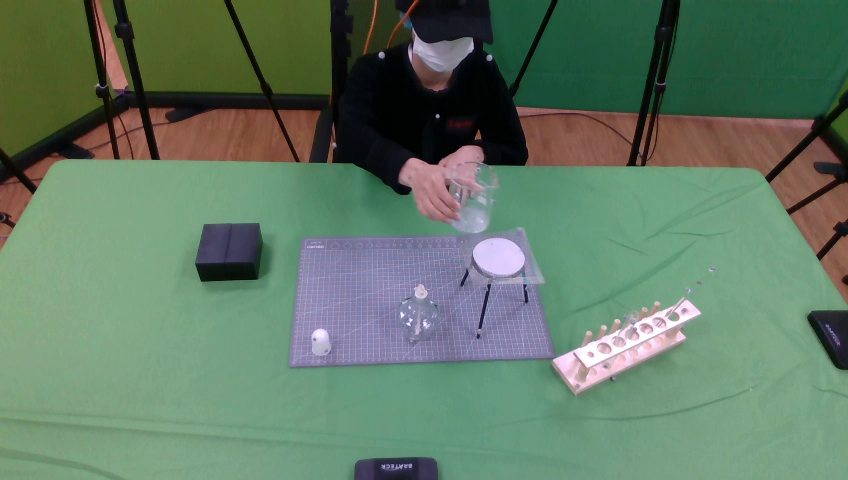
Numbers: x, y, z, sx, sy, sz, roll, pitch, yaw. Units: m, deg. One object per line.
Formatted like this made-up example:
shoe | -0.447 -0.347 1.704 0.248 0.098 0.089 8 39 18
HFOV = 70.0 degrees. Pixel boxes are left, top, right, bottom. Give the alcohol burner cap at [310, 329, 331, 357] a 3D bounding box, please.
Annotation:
alcohol burner cap | -0.173 0.168 1.005 0.034 0.048 0.033 2 46 -2

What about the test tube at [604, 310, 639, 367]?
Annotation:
test tube | 0.310 0.158 0.957 0.017 0.151 0.017 1 49 -1

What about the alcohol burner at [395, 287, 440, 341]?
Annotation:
alcohol burner | -0.010 0.116 1.018 0.078 0.119 0.077 3 47 -3

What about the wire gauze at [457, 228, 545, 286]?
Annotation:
wire gauze | 0.126 0.028 1.006 0.125 0.011 0.120 -4 46 -9

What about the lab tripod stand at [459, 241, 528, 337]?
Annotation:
lab tripod stand | 0.122 0.075 1.054 0.148 0.132 0.147 3 44 -3

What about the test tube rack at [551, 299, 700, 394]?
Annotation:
test tube rack | 0.339 0.166 1.021 0.242 0.085 0.066 -19 50 -21

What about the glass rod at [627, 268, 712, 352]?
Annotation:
glass rod | 0.399 0.117 0.995 0.008 0.200 0.008 26 29 -15

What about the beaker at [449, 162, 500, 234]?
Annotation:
beaker | 0.081 -0.065 0.984 0.084 0.101 0.074 20 46 19
